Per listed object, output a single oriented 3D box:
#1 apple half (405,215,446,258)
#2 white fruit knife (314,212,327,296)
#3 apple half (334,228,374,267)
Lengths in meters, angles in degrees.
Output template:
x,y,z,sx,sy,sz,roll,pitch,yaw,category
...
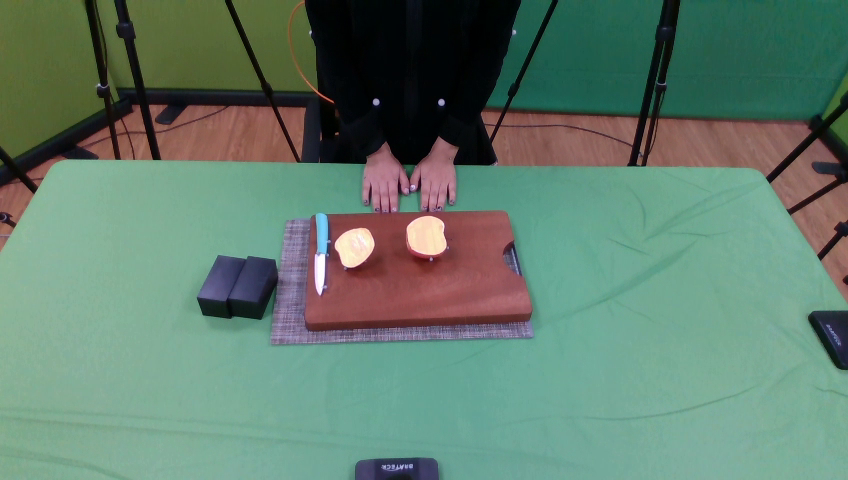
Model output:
x,y,z,sx,sy,sz,roll,pitch,yaw,category
0.002,-0.001,1.136,0.075,0.053,0.080,-7,71,-13,apple half
-0.192,0.023,1.129,0.027,0.016,0.206,-22,47,15,white fruit knife
-0.123,0.017,1.120,0.081,0.033,0.081,-8,61,15,apple half
